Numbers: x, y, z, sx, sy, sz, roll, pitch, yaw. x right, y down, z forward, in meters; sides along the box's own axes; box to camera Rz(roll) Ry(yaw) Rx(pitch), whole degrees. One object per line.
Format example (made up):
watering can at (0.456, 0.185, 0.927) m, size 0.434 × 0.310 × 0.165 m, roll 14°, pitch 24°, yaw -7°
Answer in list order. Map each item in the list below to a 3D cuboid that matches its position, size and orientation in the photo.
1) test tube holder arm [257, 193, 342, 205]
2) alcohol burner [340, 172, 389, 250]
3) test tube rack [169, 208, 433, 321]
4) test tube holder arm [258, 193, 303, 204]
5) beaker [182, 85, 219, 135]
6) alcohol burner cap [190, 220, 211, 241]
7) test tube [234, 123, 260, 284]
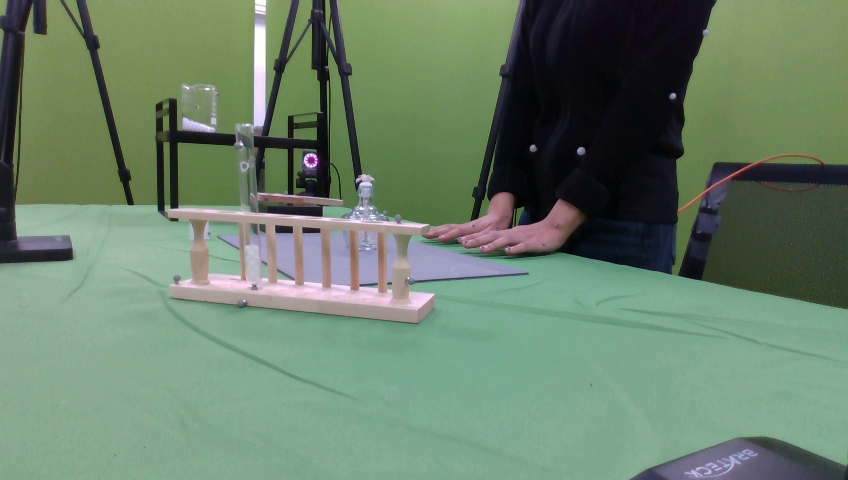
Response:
test tube holder arm at (-0.238, -0.079, 1.175) m, size 0.179 × 0.015 × 0.013 m, roll 1°, pitch 23°, yaw -41°
alcohol burner at (-0.093, -0.045, 0.939) m, size 0.078 × 0.119 × 0.078 m, roll 0°, pitch 7°, yaw 0°
test tube rack at (-0.115, 0.018, 0.574) m, size 0.242 × 0.085 × 0.067 m, roll 4°, pitch 8°, yaw 14°
test tube holder arm at (-0.270, -0.078, 1.141) m, size 0.088 × 0.015 × 0.010 m, roll 2°, pitch 23°, yaw -39°
beaker at (-0.479, -0.276, 1.291) m, size 0.074 × 0.100 × 0.084 m, roll 2°, pitch 8°, yaw -1°
alcohol burner cap at (-0.365, -0.023, 0.988) m, size 0.034 × 0.048 × 0.034 m, roll 2°, pitch 7°, yaw 0°
test tube at (-0.164, -0.032, 0.562) m, size 0.017 × 0.150 × 0.017 m, roll -1°, pitch 8°, yaw 0°
